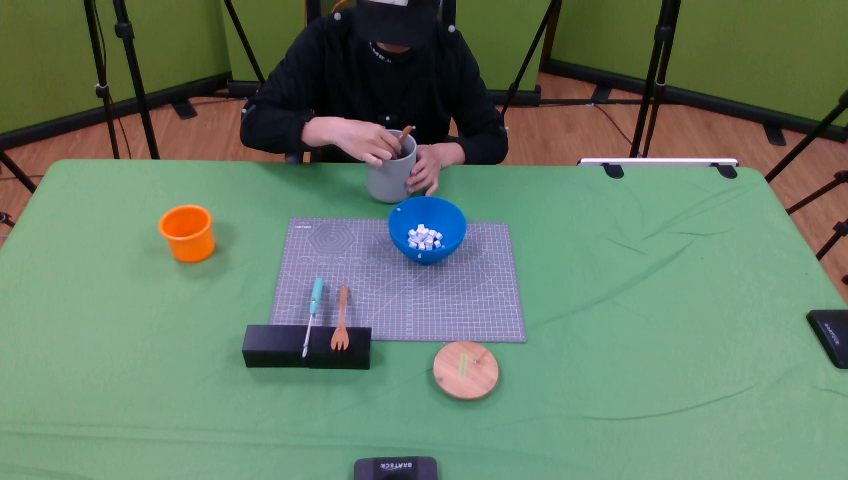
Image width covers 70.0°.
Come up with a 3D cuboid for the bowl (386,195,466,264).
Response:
[{"bbox_3d":[0.002,-0.007,1.162,0.151,0.077,0.150,2,46,-2],"label":"bowl"}]

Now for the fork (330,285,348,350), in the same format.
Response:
[{"bbox_3d":[-0.140,0.127,1.021,0.028,0.019,0.206,-5,28,-2],"label":"fork"}]

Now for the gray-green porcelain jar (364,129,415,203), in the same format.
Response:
[{"bbox_3d":[-0.072,-0.150,1.264,0.106,0.127,0.105,2,46,-2],"label":"gray-green porcelain jar"}]

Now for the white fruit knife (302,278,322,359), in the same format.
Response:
[{"bbox_3d":[-0.189,0.126,1.020,0.016,0.027,0.206,0,33,-2],"label":"white fruit knife"}]

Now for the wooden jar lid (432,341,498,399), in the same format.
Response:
[{"bbox_3d":[0.067,0.216,0.997,0.108,0.021,0.107,1,46,-1],"label":"wooden jar lid"}]
